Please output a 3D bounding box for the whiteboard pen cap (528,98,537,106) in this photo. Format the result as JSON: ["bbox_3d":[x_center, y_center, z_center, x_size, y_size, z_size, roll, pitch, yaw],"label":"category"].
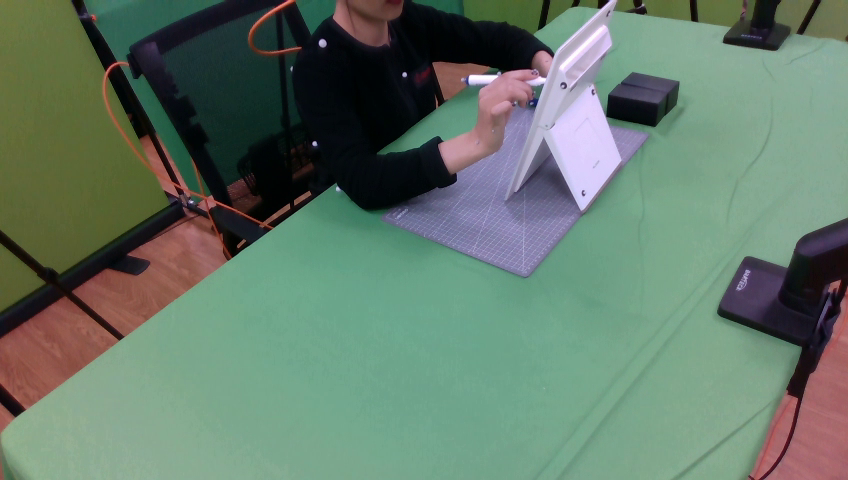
[{"bbox_3d":[0.239,-0.293,1.288,0.033,0.018,0.018,23,50,36],"label":"whiteboard pen cap"}]

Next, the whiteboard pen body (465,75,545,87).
[{"bbox_3d":[0.131,-0.244,0.929,0.140,0.017,0.017,7,43,21],"label":"whiteboard pen body"}]

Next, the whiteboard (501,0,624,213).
[{"bbox_3d":[0.271,-0.189,0.977,0.143,0.306,0.218,34,53,16],"label":"whiteboard"}]
